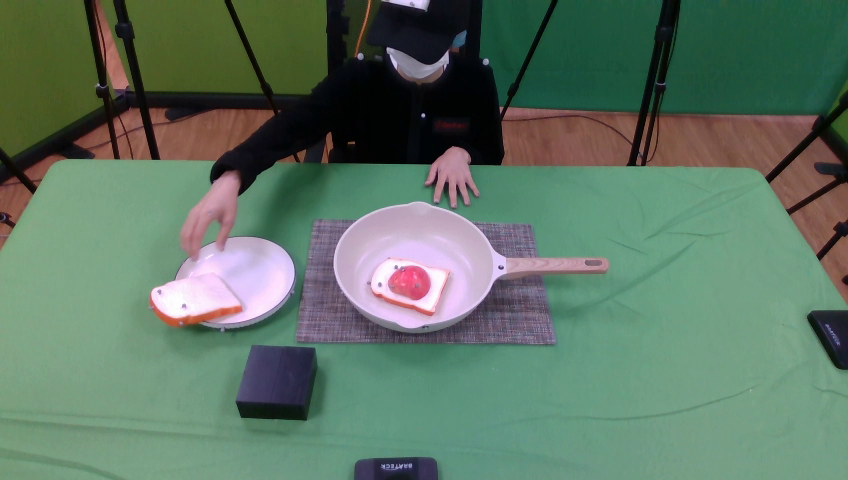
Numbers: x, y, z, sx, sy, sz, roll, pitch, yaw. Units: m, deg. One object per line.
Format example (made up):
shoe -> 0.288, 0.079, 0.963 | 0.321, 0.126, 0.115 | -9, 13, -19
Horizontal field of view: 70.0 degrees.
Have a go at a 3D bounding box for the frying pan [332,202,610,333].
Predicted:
frying pan -> 0.085, 0.052, 1.093 | 0.488, 0.103, 0.305 | -1, 46, 6

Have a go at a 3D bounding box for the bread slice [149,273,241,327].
bread slice -> -0.392, 0.102, 1.029 | 0.132, 0.019, 0.104 | -14, 43, -45

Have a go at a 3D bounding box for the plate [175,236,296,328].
plate -> -0.334, 0.077, 1.087 | 0.208, 0.039, 0.206 | 2, 46, -2

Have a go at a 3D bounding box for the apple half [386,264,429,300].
apple half -> -0.027, 0.068, 1.090 | 0.081, 0.033, 0.081 | 3, 48, -4

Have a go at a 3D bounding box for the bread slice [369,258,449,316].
bread slice -> -0.032, 0.083, 1.107 | 0.134, 0.018, 0.106 | 13, 45, 8
